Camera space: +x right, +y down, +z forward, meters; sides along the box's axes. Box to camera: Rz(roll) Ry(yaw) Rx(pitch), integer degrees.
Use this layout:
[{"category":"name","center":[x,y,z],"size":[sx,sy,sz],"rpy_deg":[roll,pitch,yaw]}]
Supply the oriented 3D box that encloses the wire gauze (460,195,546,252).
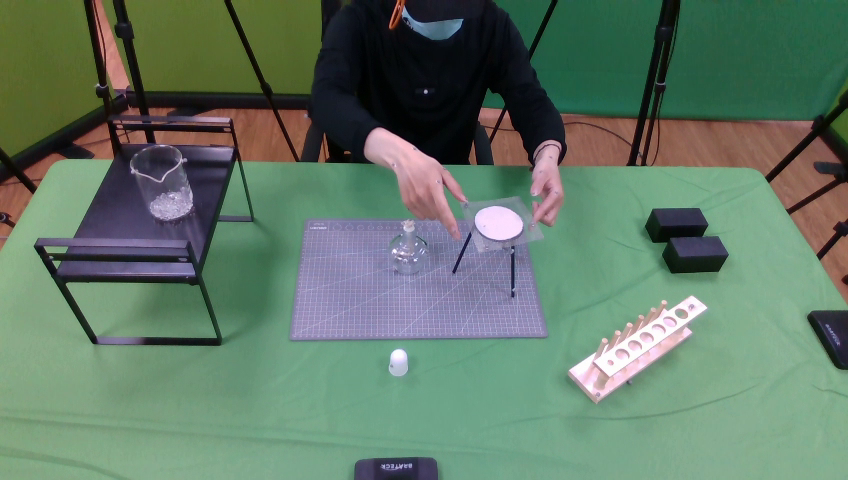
[{"category":"wire gauze","center":[0.136,-0.035,1.061],"size":[0.121,0.011,0.124],"rpy_deg":[-9,46,-12]}]

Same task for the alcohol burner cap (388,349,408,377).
[{"category":"alcohol burner cap","center":[-0.042,0.197,0.989],"size":[0.034,0.048,0.033],"rpy_deg":[3,46,-2]}]

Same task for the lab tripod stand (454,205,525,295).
[{"category":"lab tripod stand","center":[0.131,0.010,1.111],"size":[0.148,0.132,0.147],"rpy_deg":[1,45,-1]}]

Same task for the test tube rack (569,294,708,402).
[{"category":"test tube rack","center":[0.360,0.167,1.014],"size":[0.242,0.085,0.066],"rpy_deg":[-25,53,-25]}]

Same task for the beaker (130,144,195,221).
[{"category":"beaker","center":[-0.403,-0.085,0.944],"size":[0.074,0.101,0.083],"rpy_deg":[-15,50,-17]}]

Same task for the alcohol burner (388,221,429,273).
[{"category":"alcohol burner","center":[-0.028,0.006,1.118],"size":[0.078,0.119,0.077],"rpy_deg":[2,49,-2]}]
